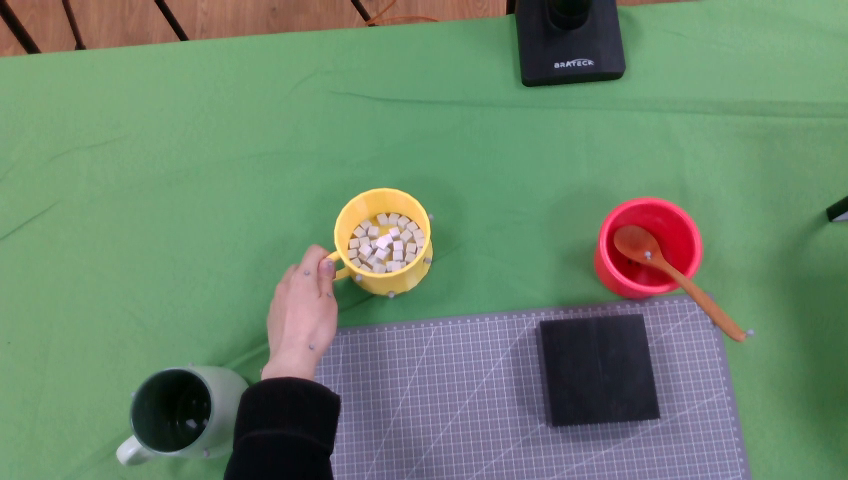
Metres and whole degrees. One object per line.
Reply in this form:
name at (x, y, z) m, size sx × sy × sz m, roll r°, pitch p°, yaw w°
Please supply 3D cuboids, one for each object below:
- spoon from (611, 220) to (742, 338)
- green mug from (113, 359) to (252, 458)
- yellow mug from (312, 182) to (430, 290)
spoon at (0.237, 0.032, 0.582) m, size 0.041 × 0.192 × 0.022 m, roll -18°, pitch 120°, yaw -4°
green mug at (-0.240, 0.171, 0.593) m, size 0.125 × 0.105 × 0.092 m, roll -36°, pitch 76°, yaw -7°
yellow mug at (-0.058, 0.004, 0.643) m, size 0.131 × 0.064 × 0.099 m, roll -28°, pitch 71°, yaw -8°
